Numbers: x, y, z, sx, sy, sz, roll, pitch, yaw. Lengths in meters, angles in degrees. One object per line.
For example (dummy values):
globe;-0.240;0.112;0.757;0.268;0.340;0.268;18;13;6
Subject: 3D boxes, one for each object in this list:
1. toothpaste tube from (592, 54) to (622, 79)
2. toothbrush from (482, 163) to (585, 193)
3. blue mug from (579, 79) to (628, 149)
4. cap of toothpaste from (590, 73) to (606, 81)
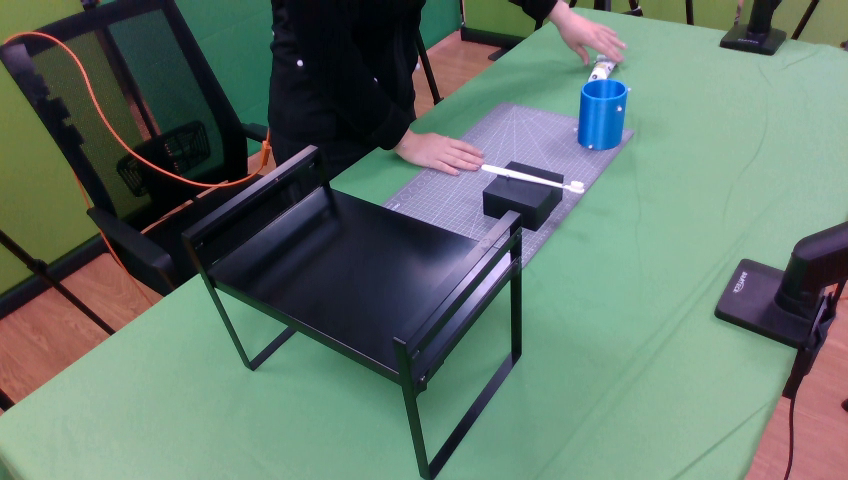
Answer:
toothpaste tube;0.409;-0.390;1.364;0.055;0.034;0.165;14;41;16
toothbrush;0.178;-0.105;0.997;0.180;0.017;0.014;17;51;26
blue mug;0.336;-0.246;1.143;0.082;0.106;0.116;0;41;10
cap of toothpaste;0.378;-0.345;1.307;0.037;0.037;0.011;10;40;20
